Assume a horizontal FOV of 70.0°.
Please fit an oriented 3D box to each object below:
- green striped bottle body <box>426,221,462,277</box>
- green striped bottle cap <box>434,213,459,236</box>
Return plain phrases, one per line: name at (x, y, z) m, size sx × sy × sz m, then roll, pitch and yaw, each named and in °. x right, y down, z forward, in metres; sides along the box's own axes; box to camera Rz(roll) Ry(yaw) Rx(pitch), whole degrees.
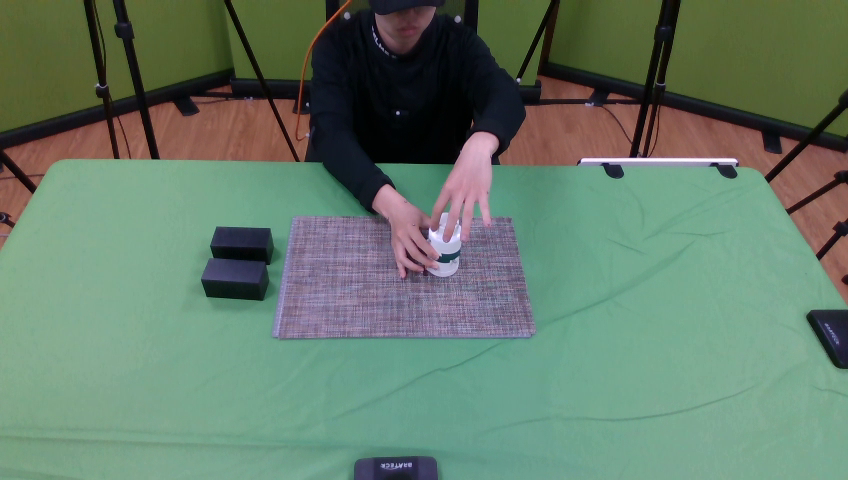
green striped bottle body at (0.037, 0.007, 1.121) m, size 0.063 × 0.120 × 0.063 m, roll 2°, pitch 46°, yaw -2°
green striped bottle cap at (0.040, -0.028, 1.084) m, size 0.044 × 0.020 × 0.044 m, roll 2°, pitch 46°, yaw -2°
